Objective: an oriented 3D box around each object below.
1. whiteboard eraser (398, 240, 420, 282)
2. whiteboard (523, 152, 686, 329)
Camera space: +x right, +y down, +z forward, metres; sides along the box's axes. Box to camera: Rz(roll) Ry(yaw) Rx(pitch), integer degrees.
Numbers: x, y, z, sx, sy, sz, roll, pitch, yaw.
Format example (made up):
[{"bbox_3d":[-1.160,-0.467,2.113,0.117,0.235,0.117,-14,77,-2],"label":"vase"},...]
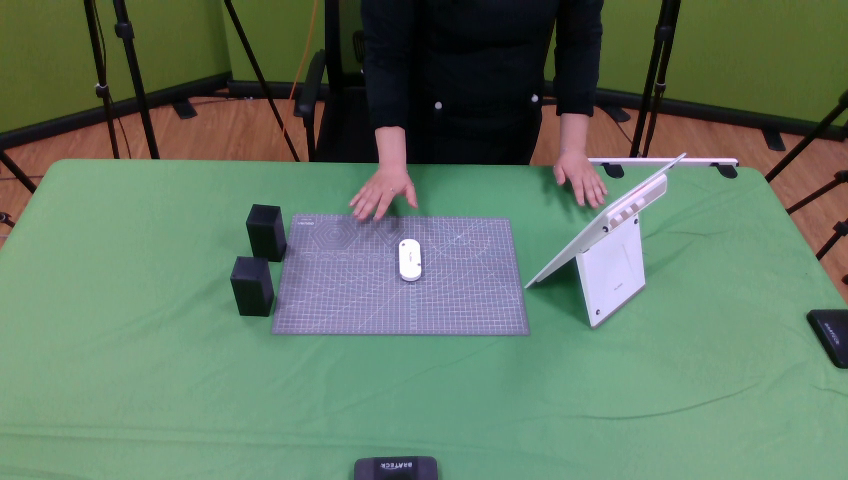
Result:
[{"bbox_3d":[-0.029,0.039,1.156,0.041,0.019,0.100,0,45,-3],"label":"whiteboard eraser"},{"bbox_3d":[0.346,0.024,1.047,0.217,0.306,0.143,-30,74,-29],"label":"whiteboard"}]
